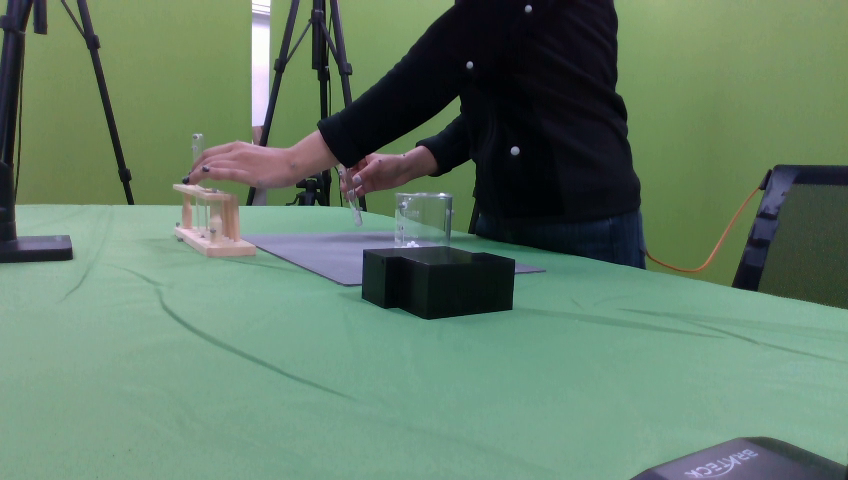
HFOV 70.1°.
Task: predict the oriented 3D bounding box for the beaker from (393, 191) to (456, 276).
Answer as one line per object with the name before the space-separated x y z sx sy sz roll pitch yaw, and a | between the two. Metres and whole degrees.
beaker | -0.004 -0.010 0.749 0.074 0.100 0.083 -3 9 -40

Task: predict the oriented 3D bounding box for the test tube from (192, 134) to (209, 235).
test tube | -0.332 -0.082 0.898 0.017 0.150 0.017 -1 6 0

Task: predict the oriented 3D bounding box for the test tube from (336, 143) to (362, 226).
test tube | -0.131 -0.096 1.064 0.017 0.150 0.017 -10 16 3

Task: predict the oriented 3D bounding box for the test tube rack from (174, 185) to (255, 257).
test tube rack | -0.325 -0.035 0.922 0.067 0.085 0.241 -2 9 -32
